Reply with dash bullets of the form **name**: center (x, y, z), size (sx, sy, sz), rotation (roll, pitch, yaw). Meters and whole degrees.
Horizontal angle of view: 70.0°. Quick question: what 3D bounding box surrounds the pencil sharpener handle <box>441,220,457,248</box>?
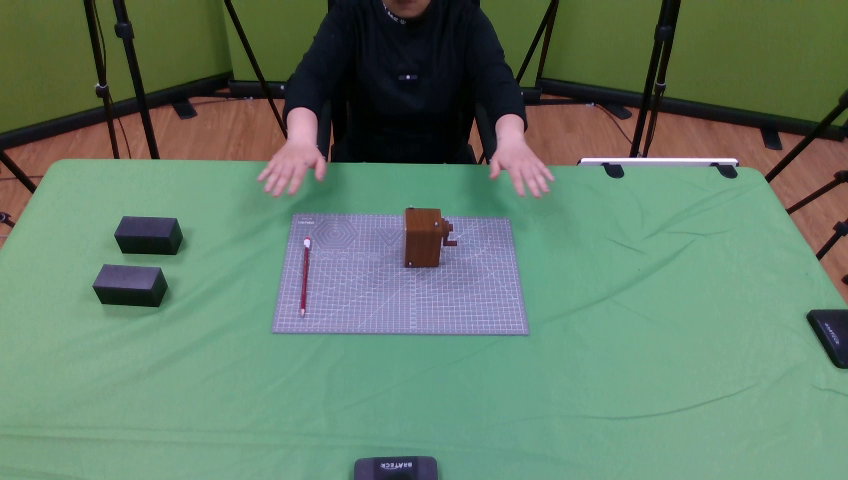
- **pencil sharpener handle**: center (0.049, -0.012, 1.132), size (0.031, 0.068, 0.036), rotation (0, 46, -5)

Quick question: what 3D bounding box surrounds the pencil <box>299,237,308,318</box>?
- **pencil**: center (-0.223, 0.066, 1.120), size (0.012, 0.012, 0.192), rotation (-2, 47, -6)

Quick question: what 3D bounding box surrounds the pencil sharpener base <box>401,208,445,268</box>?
- **pencil sharpener base**: center (-0.003, -0.003, 1.136), size (0.077, 0.107, 0.061), rotation (0, 45, -5)
